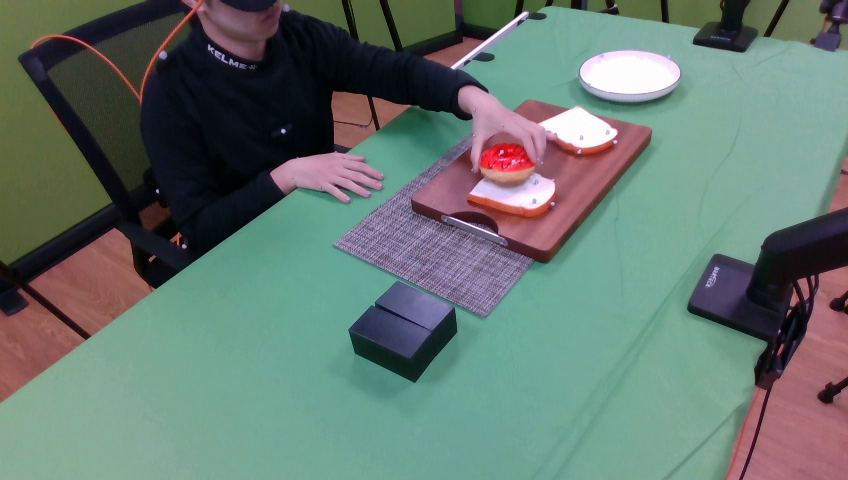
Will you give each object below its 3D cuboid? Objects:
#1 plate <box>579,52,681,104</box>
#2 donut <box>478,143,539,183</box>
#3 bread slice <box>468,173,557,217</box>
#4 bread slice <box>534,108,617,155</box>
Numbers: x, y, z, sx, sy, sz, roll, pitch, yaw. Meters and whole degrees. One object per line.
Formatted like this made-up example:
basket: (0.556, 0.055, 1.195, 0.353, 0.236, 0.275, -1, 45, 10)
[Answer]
plate: (0.437, -0.343, 1.294, 0.209, 0.038, 0.208, -4, 40, 4)
donut: (0.138, -0.127, 0.992, 0.099, 0.048, 0.098, -3, 33, 3)
bread slice: (0.154, -0.082, 1.004, 0.130, 0.019, 0.105, 18, 48, 29)
bread slice: (0.289, -0.200, 1.120, 0.107, 0.018, 0.133, -27, 43, -21)
